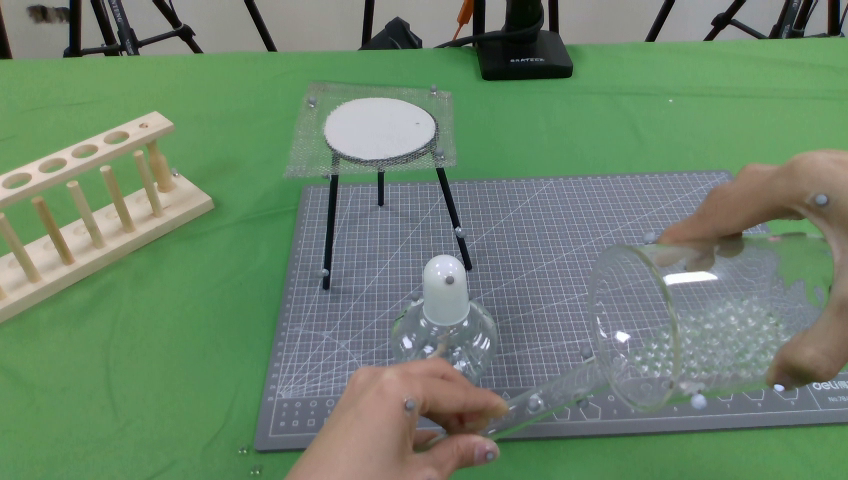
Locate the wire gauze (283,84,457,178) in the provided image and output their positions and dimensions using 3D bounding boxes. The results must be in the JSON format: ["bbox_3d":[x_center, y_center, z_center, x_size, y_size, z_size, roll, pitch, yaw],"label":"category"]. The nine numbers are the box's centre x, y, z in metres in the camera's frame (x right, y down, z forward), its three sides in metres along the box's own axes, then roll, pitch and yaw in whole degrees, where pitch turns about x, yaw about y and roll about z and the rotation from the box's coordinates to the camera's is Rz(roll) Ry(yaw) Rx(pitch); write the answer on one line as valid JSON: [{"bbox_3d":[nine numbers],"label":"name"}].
[{"bbox_3d":[-0.037,-0.087,0.464,0.121,0.011,0.124,0,43,0],"label":"wire gauze"}]

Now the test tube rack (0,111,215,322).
[{"bbox_3d":[-0.316,-0.019,0.532,0.066,0.086,0.242,33,52,31],"label":"test tube rack"}]

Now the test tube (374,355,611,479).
[{"bbox_3d":[0.031,0.101,0.327,0.150,0.017,0.017,-33,38,21],"label":"test tube"}]

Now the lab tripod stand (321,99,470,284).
[{"bbox_3d":[-0.028,-0.039,0.511,0.148,0.132,0.147,1,42,0],"label":"lab tripod stand"}]

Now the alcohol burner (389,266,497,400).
[{"bbox_3d":[0.014,0.057,0.421,0.078,0.120,0.077,0,44,0],"label":"alcohol burner"}]

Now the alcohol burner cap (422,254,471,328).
[{"bbox_3d":[0.014,0.031,0.396,0.034,0.048,0.033,-3,42,3],"label":"alcohol burner cap"}]

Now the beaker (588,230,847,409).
[{"bbox_3d":[0.137,0.035,0.280,0.100,0.084,0.073,-5,54,-11],"label":"beaker"}]
